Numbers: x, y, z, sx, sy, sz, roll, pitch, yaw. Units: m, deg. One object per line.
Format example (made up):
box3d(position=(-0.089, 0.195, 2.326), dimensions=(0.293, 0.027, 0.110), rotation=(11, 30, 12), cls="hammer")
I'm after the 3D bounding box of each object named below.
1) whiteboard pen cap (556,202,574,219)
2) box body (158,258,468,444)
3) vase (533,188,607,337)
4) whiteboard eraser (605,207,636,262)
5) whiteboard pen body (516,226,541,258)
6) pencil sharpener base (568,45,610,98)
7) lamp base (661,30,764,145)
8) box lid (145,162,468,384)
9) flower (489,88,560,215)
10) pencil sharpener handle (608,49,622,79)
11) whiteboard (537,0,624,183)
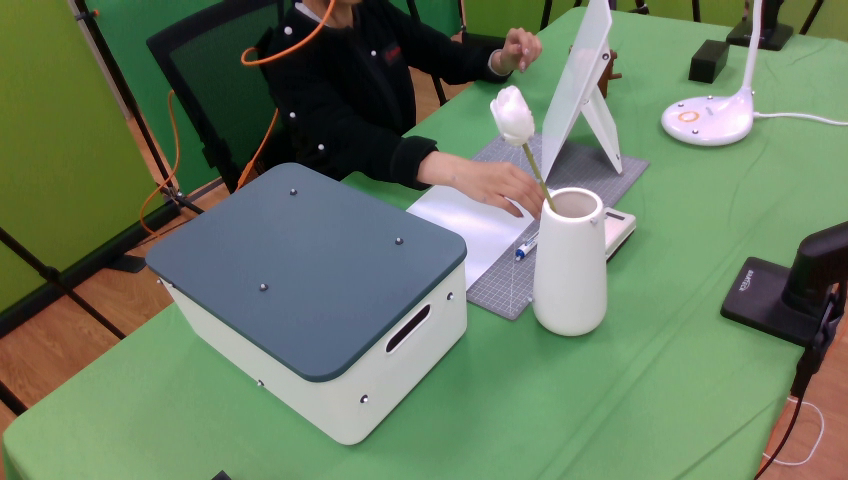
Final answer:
box3d(position=(0.231, -0.048, 0.995), dimensions=(0.018, 0.018, 0.033), rotation=(27, 55, 35), cls="whiteboard pen cap")
box3d(position=(-0.147, 0.072, 0.816), dimensions=(0.361, 0.161, 0.255), rotation=(24, 50, 33), cls="box body")
box3d(position=(0.187, 0.033, 0.771), dimensions=(0.098, 0.201, 0.097), rotation=(-6, 41, 6), cls="vase")
box3d(position=(0.273, -0.003, 0.919), dimensions=(0.055, 0.042, 0.113), rotation=(27, 51, 33), cls="whiteboard eraser")
box3d(position=(0.191, -0.017, 0.963), dimensions=(0.017, 0.017, 0.141), rotation=(26, 52, 34), cls="whiteboard pen body")
box3d(position=(0.345, -0.352, 1.263), dimensions=(0.077, 0.107, 0.061), rotation=(-8, 40, 1), cls="pencil sharpener base")
box3d(position=(0.535, -0.287, 1.096), dimensions=(0.179, 0.181, 0.159), rotation=(-10, 40, -4), cls="lamp base")
box3d(position=(-0.157, 0.014, 0.769), dimensions=(0.368, 0.015, 0.264), rotation=(25, 51, 33), cls="box lid")
box3d(position=(0.159, -0.027, 0.720), dimensions=(0.038, 0.364, 0.044), rotation=(-14, 44, 23), cls="flower")
box3d(position=(0.394, -0.368, 1.253), dimensions=(0.030, 0.068, 0.036), rotation=(-8, 32, 1), cls="pencil sharpener handle")
box3d(position=(0.316, -0.256, 1.047), dimensions=(0.144, 0.306, 0.216), rotation=(15, 42, -1), cls="whiteboard")
